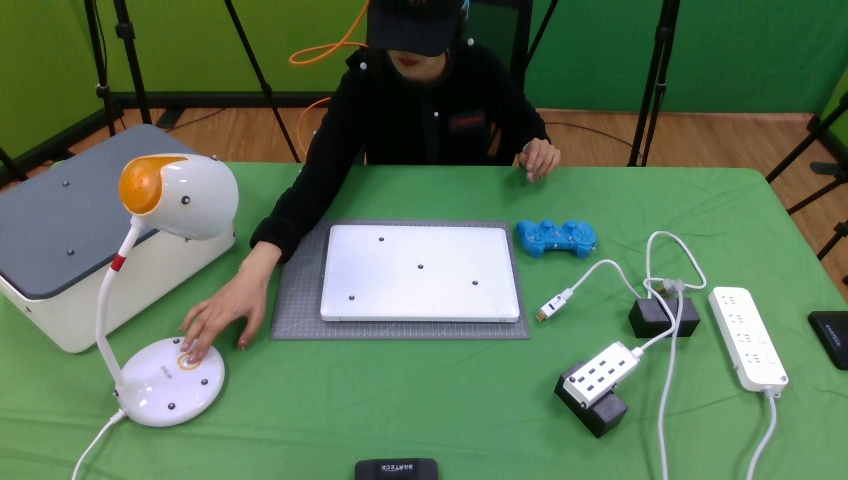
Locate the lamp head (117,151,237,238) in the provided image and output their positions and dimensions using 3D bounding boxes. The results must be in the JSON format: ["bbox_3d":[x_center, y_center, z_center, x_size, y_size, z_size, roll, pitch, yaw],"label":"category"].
[{"bbox_3d":[-0.315,-0.057,0.748,0.112,0.112,0.123,26,10,20],"label":"lamp head"}]

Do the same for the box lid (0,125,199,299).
[{"bbox_3d":[-0.540,-0.068,1.016,0.262,0.015,0.371,30,51,23],"label":"box lid"}]

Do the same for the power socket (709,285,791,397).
[{"bbox_3d":[0.567,0.167,1.064,0.072,0.033,0.225,2,46,0],"label":"power socket"}]

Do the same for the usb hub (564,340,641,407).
[{"bbox_3d":[0.278,0.205,0.944,0.125,0.025,0.049,-27,52,-28],"label":"usb hub"}]

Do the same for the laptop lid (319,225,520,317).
[{"bbox_3d":[-0.008,0.052,1.131,0.357,0.013,0.240,2,44,-2],"label":"laptop lid"}]

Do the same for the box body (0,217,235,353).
[{"bbox_3d":[-0.550,-0.007,1.068,0.253,0.161,0.363,30,51,23],"label":"box body"}]

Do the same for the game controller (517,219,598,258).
[{"bbox_3d":[0.269,-0.012,1.210,0.155,0.052,0.096,1,50,-2],"label":"game controller"}]

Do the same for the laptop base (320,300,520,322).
[{"bbox_3d":[-0.008,0.062,1.138,0.354,0.023,0.234,0,42,-3],"label":"laptop base"}]

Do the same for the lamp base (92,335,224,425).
[{"bbox_3d":[-0.401,0.171,0.892,0.160,0.181,0.179,30,53,23],"label":"lamp base"}]

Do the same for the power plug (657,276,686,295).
[{"bbox_3d":[0.450,0.087,1.113,0.073,0.052,0.035,-12,71,-55],"label":"power plug"}]

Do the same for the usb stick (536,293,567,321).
[{"bbox_3d":[0.226,0.122,1.083,0.059,0.027,0.021,-38,76,-7],"label":"usb stick"}]
